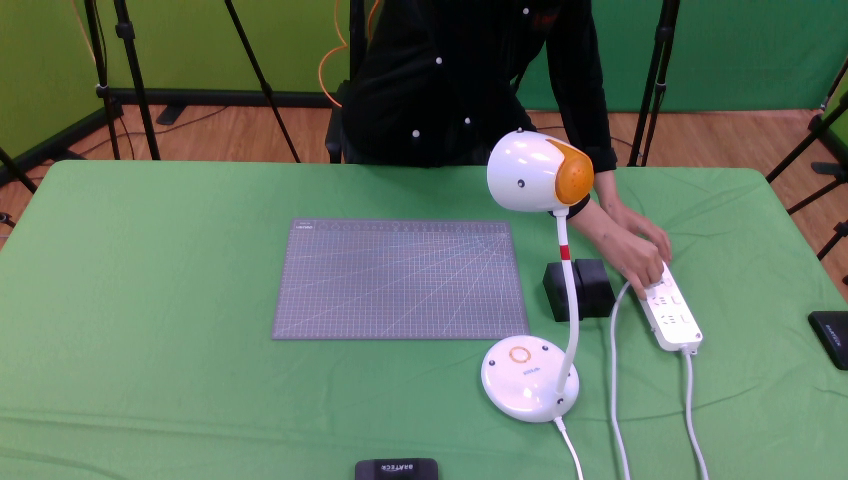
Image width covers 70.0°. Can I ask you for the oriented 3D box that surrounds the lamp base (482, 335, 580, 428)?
[{"bbox_3d":[0.185,0.177,0.927,0.161,0.181,0.178,-22,53,-23],"label":"lamp base"}]

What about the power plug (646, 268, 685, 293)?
[{"bbox_3d":[0.434,0.082,1.096,0.035,0.053,0.072,-38,60,8],"label":"power plug"}]

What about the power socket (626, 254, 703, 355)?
[{"bbox_3d":[0.438,0.110,1.115,0.072,0.033,0.225,-3,46,-5],"label":"power socket"}]

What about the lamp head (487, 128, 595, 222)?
[{"bbox_3d":[0.160,-0.084,0.791,0.112,0.113,0.122,-24,28,-25],"label":"lamp head"}]
